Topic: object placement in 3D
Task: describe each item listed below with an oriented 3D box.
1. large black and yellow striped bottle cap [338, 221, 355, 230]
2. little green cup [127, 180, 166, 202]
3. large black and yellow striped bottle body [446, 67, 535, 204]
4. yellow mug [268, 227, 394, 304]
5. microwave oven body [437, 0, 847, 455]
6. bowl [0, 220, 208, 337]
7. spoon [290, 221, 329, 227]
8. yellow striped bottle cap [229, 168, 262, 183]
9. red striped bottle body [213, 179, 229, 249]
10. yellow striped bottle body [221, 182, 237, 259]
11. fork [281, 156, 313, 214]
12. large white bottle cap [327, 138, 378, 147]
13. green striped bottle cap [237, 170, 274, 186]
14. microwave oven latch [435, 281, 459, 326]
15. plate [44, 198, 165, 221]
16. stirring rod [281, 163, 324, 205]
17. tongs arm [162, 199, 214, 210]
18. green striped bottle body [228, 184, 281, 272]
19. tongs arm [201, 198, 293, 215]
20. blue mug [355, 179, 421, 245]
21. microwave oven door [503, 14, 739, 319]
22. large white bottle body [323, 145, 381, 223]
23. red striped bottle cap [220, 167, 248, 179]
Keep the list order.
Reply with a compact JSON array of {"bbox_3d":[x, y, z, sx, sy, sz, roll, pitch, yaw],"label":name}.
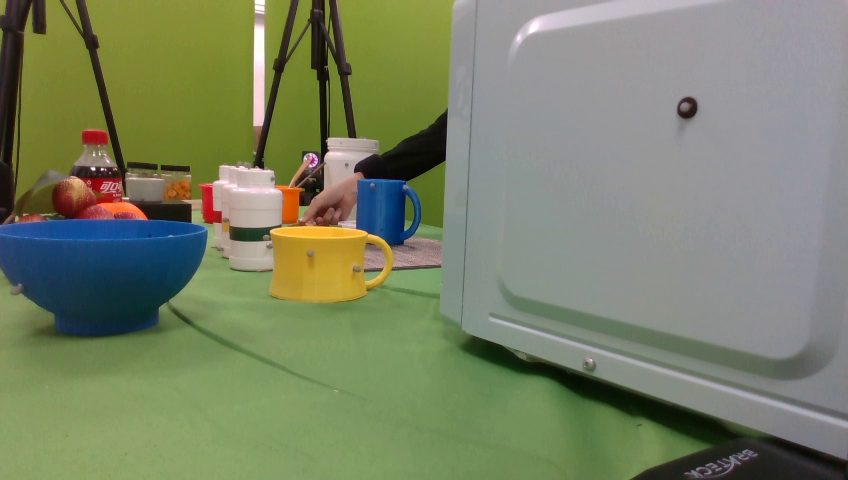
[{"bbox_3d":[-0.107,-0.022,1.147,0.115,0.019,0.115,1,8,0],"label":"large black and yellow striped bottle cap"},{"bbox_3d":[-0.486,-0.087,1.062,0.061,0.038,0.061,0,7,0],"label":"little green cup"},{"bbox_3d":[0.099,-0.151,0.901,0.131,0.183,0.131,0,-3,0],"label":"large black and yellow striped bottle body"},{"bbox_3d":[-0.094,0.023,0.629,0.131,0.064,0.099,0,7,-22],"label":"yellow mug"},{"bbox_3d":[0.279,-0.040,0.464,0.444,0.260,0.324,-3,9,-41],"label":"microwave oven body"},{"bbox_3d":[-0.251,0.029,0.479,0.151,0.077,0.151,2,7,0],"label":"bowl"},{"bbox_3d":[-0.220,-0.026,1.127,0.042,0.021,0.193,-18,14,-24],"label":"spoon"},{"bbox_3d":[-0.240,-0.087,0.816,0.044,0.018,0.044,-2,5,1],"label":"yellow striped bottle cap"},{"bbox_3d":[-0.283,-0.047,0.908,0.063,0.119,0.063,2,8,0],"label":"red striped bottle body"},{"bbox_3d":[-0.244,-0.035,0.823,0.063,0.120,0.063,2,8,0],"label":"yellow striped bottle body"},{"bbox_3d":[-0.289,-0.116,1.320,0.028,0.019,0.207,-2,48,27],"label":"fork"},{"bbox_3d":[-0.160,-0.218,1.357,0.115,0.018,0.115,2,8,0],"label":"large white bottle cap"},{"bbox_3d":[-0.205,-0.075,0.737,0.044,0.020,0.044,1,4,0],"label":"green striped bottle cap"},{"bbox_3d":[0.044,0.046,0.470,0.079,0.029,0.030,-3,8,-40],"label":"microwave oven latch"},{"bbox_3d":[-0.617,-0.056,1.179,0.209,0.038,0.209,3,7,0],"label":"plate"},{"bbox_3d":[-0.278,-0.105,1.293,0.176,0.006,0.014,-47,25,-18],"label":"stirring rod"},{"bbox_3d":[-0.504,-0.091,1.513,0.028,0.028,0.389,0,4,37],"label":"tongs arm"},{"bbox_3d":[-0.208,-0.023,0.745,0.063,0.119,0.063,2,7,0],"label":"green striped bottle body"},{"bbox_3d":[-0.423,-0.084,1.472,0.050,0.026,0.386,2,6,21],"label":"tongs arm"},{"bbox_3d":[-0.058,-0.047,1.004,0.116,0.106,0.082,6,9,24],"label":"blue mug"},{"bbox_3d":[0.217,-0.065,0.601,0.358,0.243,0.039,-4,10,-41],"label":"microwave oven door"},{"bbox_3d":[-0.163,-0.134,1.369,0.131,0.184,0.130,2,8,0],"label":"large white bottle body"},{"bbox_3d":[-0.281,-0.100,0.901,0.044,0.017,0.044,0,5,0],"label":"red striped bottle cap"}]
